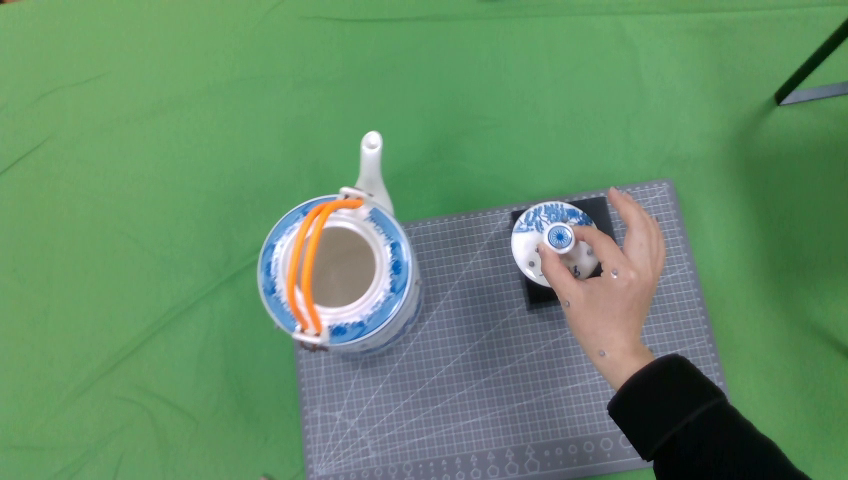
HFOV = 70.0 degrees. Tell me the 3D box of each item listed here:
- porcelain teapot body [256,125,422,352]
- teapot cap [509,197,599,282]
[{"bbox_3d":[-0.074,-0.001,0.578,0.145,0.226,0.204,12,77,7],"label":"porcelain teapot body"},{"bbox_3d":[0.122,-0.002,0.567,0.085,0.044,0.084,-1,72,4],"label":"teapot cap"}]
